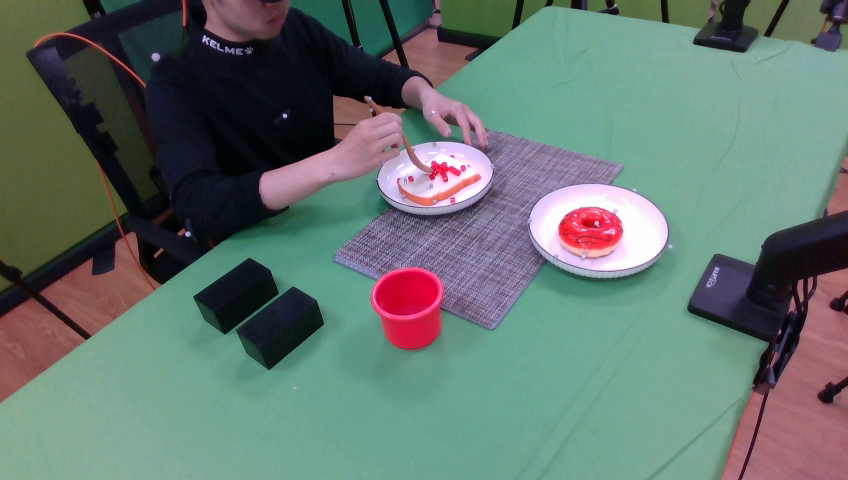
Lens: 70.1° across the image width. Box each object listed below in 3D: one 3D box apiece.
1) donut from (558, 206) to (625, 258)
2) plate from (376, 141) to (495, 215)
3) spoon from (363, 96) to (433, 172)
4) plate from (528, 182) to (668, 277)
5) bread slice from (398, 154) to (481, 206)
[{"bbox_3d":[0.254,-0.015,0.917,0.099,0.048,0.098,-5,41,5],"label":"donut"},{"bbox_3d":[0.022,-0.106,1.073,0.209,0.038,0.208,-4,40,4],"label":"plate"},{"bbox_3d":[-0.041,-0.174,1.008,0.021,0.195,0.041,-44,41,-3],"label":"spoon"},{"bbox_3d":[0.264,-0.014,0.933,0.207,0.039,0.206,-3,42,3],"label":"plate"},{"bbox_3d":[0.021,-0.106,1.077,0.132,0.019,0.104,-31,46,-28],"label":"bread slice"}]
